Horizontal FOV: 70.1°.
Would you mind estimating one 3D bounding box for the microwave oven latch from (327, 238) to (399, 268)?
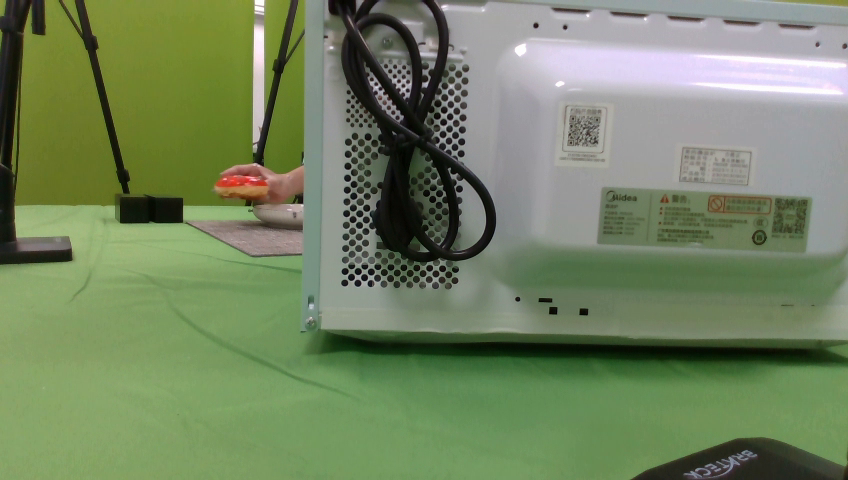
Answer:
[{"bbox_3d":[-0.069,0.015,0.694,0.079,0.029,0.030,3,7,-3],"label":"microwave oven latch"}]

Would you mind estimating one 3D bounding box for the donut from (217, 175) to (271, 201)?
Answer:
[{"bbox_3d":[-0.342,-0.100,1.151,0.099,0.048,0.099,1,10,0],"label":"donut"}]

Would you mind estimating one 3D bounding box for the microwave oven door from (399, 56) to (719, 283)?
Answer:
[{"bbox_3d":[0.154,-0.078,0.697,0.356,0.243,0.039,2,8,-5],"label":"microwave oven door"}]

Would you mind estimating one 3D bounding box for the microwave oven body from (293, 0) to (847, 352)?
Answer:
[{"bbox_3d":[0.122,-0.055,0.550,0.442,0.260,0.325,3,7,-5],"label":"microwave oven body"}]

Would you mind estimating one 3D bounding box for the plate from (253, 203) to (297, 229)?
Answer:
[{"bbox_3d":[-0.238,-0.048,1.226,0.208,0.039,0.207,3,7,0],"label":"plate"}]

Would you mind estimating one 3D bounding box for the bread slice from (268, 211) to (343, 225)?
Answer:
[{"bbox_3d":[-0.243,-0.046,1.220,0.104,0.019,0.132,8,8,36],"label":"bread slice"}]
